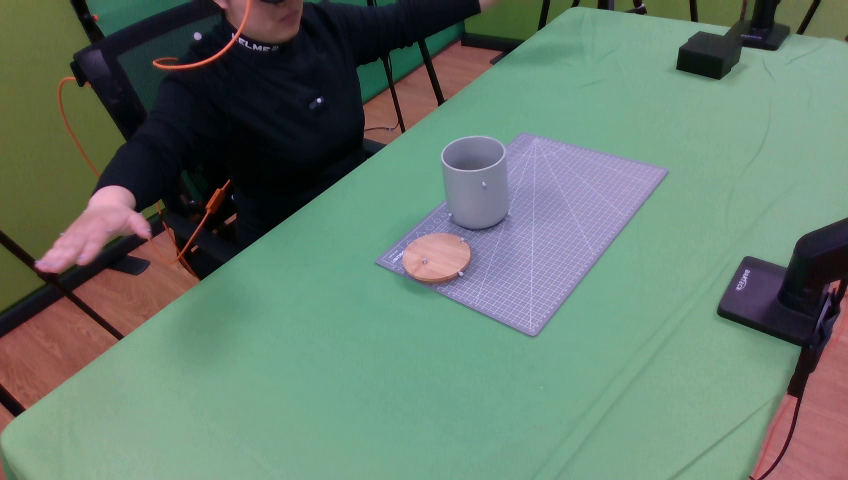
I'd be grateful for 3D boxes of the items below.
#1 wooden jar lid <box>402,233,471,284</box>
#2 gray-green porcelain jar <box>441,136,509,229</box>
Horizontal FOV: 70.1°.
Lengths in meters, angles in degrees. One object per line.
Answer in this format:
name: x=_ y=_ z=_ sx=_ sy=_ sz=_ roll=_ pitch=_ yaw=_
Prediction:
wooden jar lid: x=0.020 y=0.030 z=0.941 sx=0.108 sy=0.021 sz=0.108 roll=-4 pitch=40 yaw=4
gray-green porcelain jar: x=0.086 y=-0.090 z=0.988 sx=0.106 sy=0.127 sz=0.105 roll=-5 pitch=40 yaw=5
